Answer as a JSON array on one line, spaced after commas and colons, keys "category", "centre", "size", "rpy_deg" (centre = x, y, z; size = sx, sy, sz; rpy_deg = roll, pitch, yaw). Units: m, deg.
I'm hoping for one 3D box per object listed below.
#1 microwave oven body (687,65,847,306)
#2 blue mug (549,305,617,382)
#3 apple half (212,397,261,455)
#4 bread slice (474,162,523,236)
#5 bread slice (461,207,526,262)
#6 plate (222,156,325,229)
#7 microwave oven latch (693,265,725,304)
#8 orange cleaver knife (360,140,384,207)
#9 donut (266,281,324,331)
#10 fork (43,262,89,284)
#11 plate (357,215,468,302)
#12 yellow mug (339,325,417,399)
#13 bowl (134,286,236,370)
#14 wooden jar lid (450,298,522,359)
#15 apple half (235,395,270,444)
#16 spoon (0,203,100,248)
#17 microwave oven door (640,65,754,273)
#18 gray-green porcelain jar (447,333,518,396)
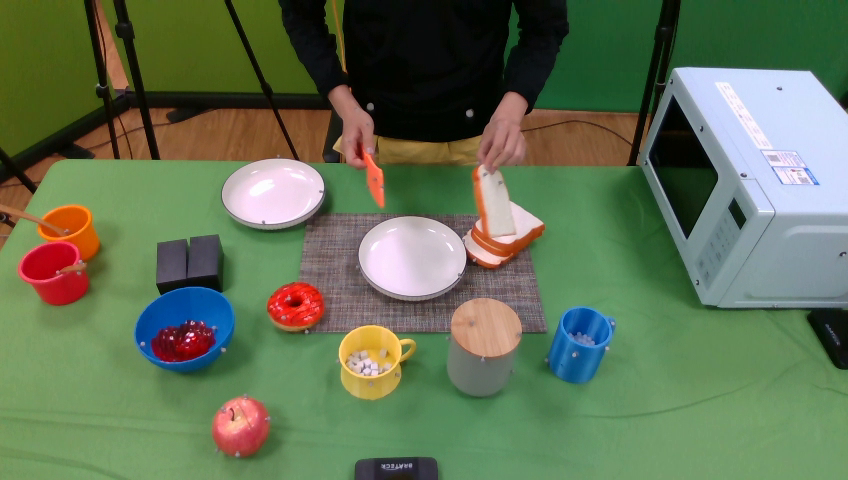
[{"category": "microwave oven body", "centre": [0.669, -0.111, 1.176], "size": [0.326, 0.261, 0.439], "rpy_deg": [0, 46, -3]}, {"category": "blue mug", "centre": [0.269, 0.166, 0.998], "size": [0.116, 0.106, 0.082], "rpy_deg": [-19, 51, -21]}, {"category": "apple half", "centre": [-0.276, 0.276, 0.877], "size": [0.053, 0.075, 0.080], "rpy_deg": [-29, 58, -21]}, {"category": "bread slice", "centre": [0.127, -0.072, 1.065], "size": [0.107, 0.018, 0.134], "rpy_deg": [-13, 85, -56]}, {"category": "bread slice", "centre": [0.127, -0.008, 1.194], "size": [0.104, 0.019, 0.131], "rpy_deg": [21, 49, 24]}, {"category": "plate", "centre": [-0.308, -0.095, 1.251], "size": [0.209, 0.038, 0.208], "rpy_deg": [3, 46, -3]}, {"category": "microwave oven latch", "centre": [0.523, 0.082, 1.116], "size": [0.030, 0.029, 0.078], "rpy_deg": [2, 46, -1]}, {"category": "orange cleaver knife", "centre": [-0.097, -0.128, 1.128], "size": [0.012, 0.077, 0.210], "rpy_deg": [-5, 29, -14]}, {"category": "donut", "centre": [-0.222, 0.114, 1.049], "size": [0.099, 0.048, 0.098], "rpy_deg": [2, 46, -2]}, {"category": "fork", "centre": [-0.599, 0.053, 1.013], "size": [0.207, 0.019, 0.028], "rpy_deg": [-14, 30, 45]}, {"category": "plate", "centre": [-0.021, 0.037, 1.141], "size": [0.208, 0.039, 0.206], "rpy_deg": [2, 46, -2]}, {"category": "yellow mug", "centre": [-0.072, 0.191, 0.978], "size": [0.131, 0.064, 0.099], "rpy_deg": [-17, 49, -20]}, {"category": "bowl", "centre": [-0.377, 0.155, 0.981], "size": [0.151, 0.077, 0.150], "rpy_deg": [2, 46, -2]}, {"category": "wooden jar lid", "centre": [0.093, 0.135, 0.914], "size": [0.108, 0.021, 0.107], "rpy_deg": [2, 48, -3]}, {"category": "apple half", "centre": [-0.245, 0.259, 0.893], "size": [0.033, 0.082, 0.081], "rpy_deg": [-29, 55, -22]}, {"category": "spoon", "centre": [-0.683, -0.031, 1.088], "size": [0.195, 0.021, 0.041], "rpy_deg": [33, 33, -38]}, {"category": "microwave oven door", "centre": [0.523, -0.147, 1.193], "size": [0.039, 0.245, 0.353], "rpy_deg": [0, 47, -3]}, {"category": "gray-green porcelain jar", "centre": [0.091, 0.178, 0.960], "size": [0.106, 0.127, 0.105], "rpy_deg": [2, 46, -2]}]
